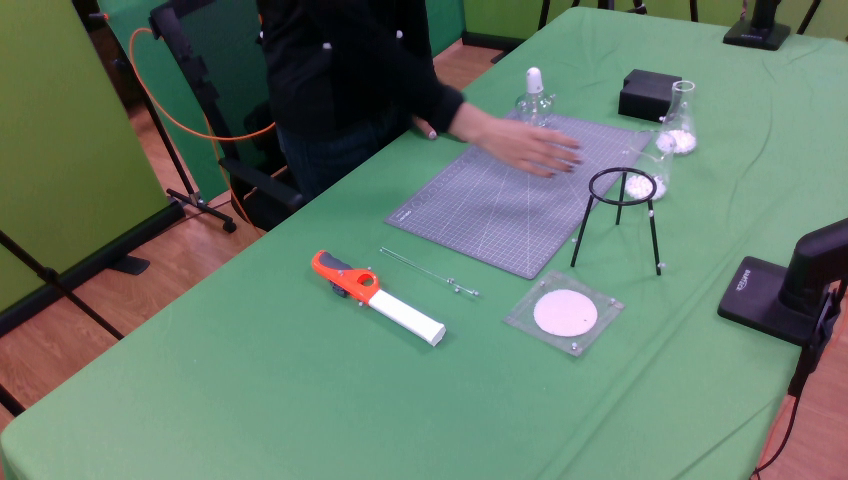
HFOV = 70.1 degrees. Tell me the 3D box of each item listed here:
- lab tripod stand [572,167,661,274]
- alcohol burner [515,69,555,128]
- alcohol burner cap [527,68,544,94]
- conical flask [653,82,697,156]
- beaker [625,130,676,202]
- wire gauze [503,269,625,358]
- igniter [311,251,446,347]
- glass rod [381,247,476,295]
[{"bbox_3d":[0.284,-0.030,0.879,0.148,0.132,0.147,-7,38,6],"label":"lab tripod stand"},{"bbox_3d":[0.221,-0.285,1.203,0.078,0.119,0.077,-4,39,4],"label":"alcohol burner"},{"bbox_3d":[0.216,-0.312,1.179,0.034,0.048,0.033,-9,40,9],"label":"alcohol burner cap"},{"bbox_3d":[0.454,-0.218,1.077,0.075,0.122,0.075,-5,40,5],"label":"conical flask"},{"bbox_3d":[0.369,-0.117,0.992,0.074,0.101,0.083,-6,41,5],"label":"beaker"},{"bbox_3d":[0.194,0.100,0.840,0.120,0.011,0.125,27,54,36],"label":"wire gauze"},{"bbox_3d":[-0.078,0.081,0.899,0.274,0.025,0.057,27,63,36],"label":"igniter"},{"bbox_3d":[0.003,0.046,0.939,0.198,0.008,0.008,24,51,36],"label":"glass rod"}]
